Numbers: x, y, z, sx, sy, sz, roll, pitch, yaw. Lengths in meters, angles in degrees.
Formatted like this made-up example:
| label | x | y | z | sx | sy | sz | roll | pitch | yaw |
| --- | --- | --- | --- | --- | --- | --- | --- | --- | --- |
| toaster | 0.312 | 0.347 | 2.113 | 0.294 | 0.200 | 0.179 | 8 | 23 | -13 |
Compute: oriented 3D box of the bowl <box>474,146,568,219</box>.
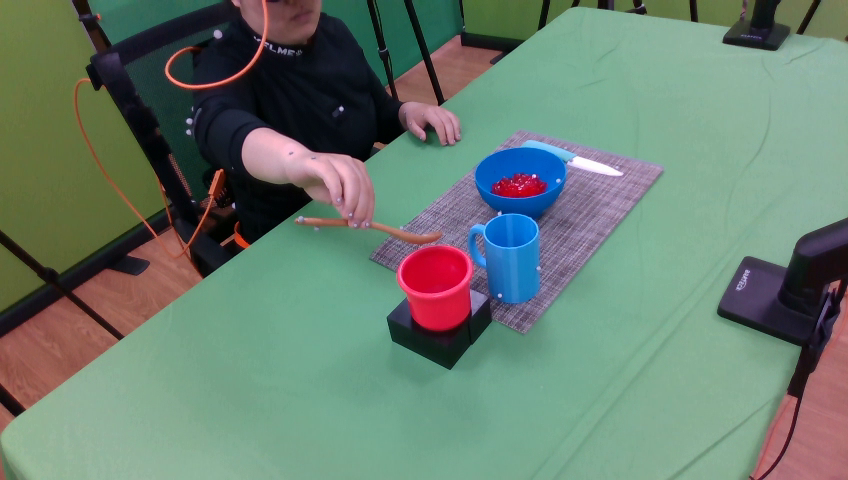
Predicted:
| label | x | y | z | sx | sy | sz | roll | pitch | yaw |
| --- | --- | --- | --- | --- | --- | --- | --- | --- | --- |
| bowl | 0.161 | -0.083 | 1.000 | 0.151 | 0.077 | 0.150 | -5 | 40 | 5 |

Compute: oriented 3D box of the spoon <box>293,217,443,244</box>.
| label | x | y | z | sx | sy | sz | roll | pitch | yaw |
| --- | --- | --- | --- | --- | --- | --- | --- | --- | --- |
| spoon | -0.060 | -0.014 | 0.707 | 0.195 | 0.021 | 0.041 | 10 | -5 | -33 |

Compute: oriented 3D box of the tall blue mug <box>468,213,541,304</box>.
| label | x | y | z | sx | sy | sz | roll | pitch | yaw |
| --- | --- | --- | --- | --- | --- | --- | --- | --- | --- |
| tall blue mug | 0.111 | 0.026 | 0.856 | 0.107 | 0.108 | 0.077 | 2 | 42 | 13 |

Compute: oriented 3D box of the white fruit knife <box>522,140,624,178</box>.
| label | x | y | z | sx | sy | sz | roll | pitch | yaw |
| --- | --- | --- | --- | --- | --- | --- | --- | --- | --- |
| white fruit knife | 0.270 | -0.149 | 1.110 | 0.206 | 0.016 | 0.027 | 25 | 80 | 32 |
